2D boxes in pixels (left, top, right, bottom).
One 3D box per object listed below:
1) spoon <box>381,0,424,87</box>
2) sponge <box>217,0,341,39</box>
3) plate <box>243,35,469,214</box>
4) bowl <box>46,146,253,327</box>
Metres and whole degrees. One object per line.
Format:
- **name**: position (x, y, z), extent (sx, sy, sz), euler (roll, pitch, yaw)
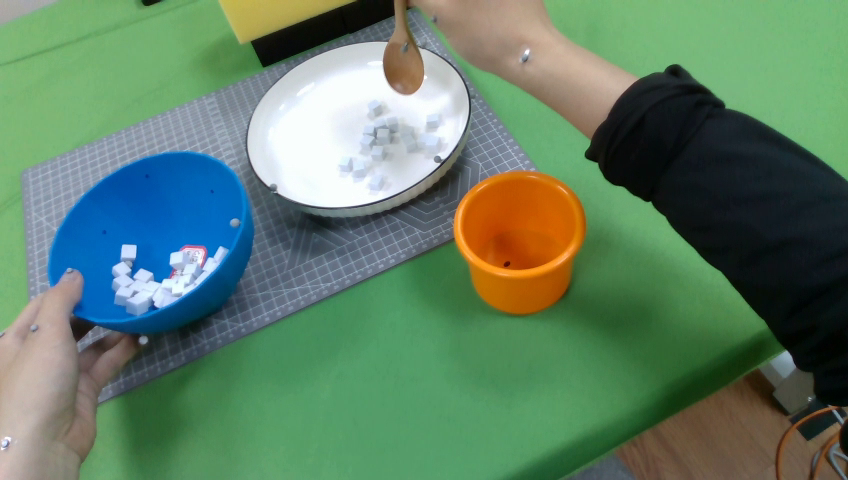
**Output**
- **spoon**: position (-0.015, -0.184, 0.458), extent (0.041, 0.195, 0.021), euler (29, 69, 9)
- **sponge**: position (-0.120, -0.298, 0.623), extent (0.207, 0.061, 0.117), euler (-24, 57, -6)
- **plate**: position (-0.061, -0.106, 0.560), extent (0.209, 0.038, 0.207), euler (-4, 58, 7)
- **bowl**: position (-0.195, 0.009, 0.470), extent (0.151, 0.077, 0.150), euler (-5, 57, 8)
